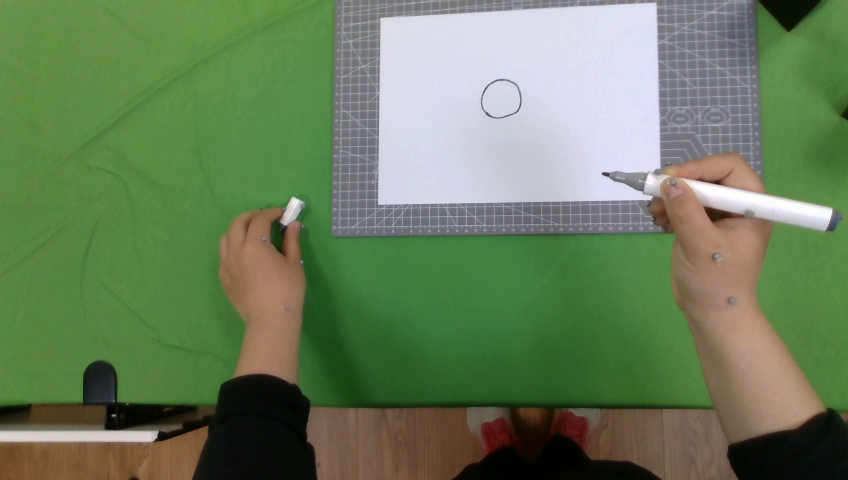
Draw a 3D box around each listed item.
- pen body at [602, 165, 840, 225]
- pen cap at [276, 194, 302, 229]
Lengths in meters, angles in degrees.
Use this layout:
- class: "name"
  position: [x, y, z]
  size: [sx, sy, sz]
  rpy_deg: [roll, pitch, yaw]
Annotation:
- class: "pen body"
  position: [0.188, -0.033, 0.398]
  size: [0.143, 0.017, 0.017]
  rpy_deg: [16, 87, 24]
- class: "pen cap"
  position: [-0.149, -0.031, 0.669]
  size: [0.017, 0.017, 0.038]
  rpy_deg: [29, 92, 9]
